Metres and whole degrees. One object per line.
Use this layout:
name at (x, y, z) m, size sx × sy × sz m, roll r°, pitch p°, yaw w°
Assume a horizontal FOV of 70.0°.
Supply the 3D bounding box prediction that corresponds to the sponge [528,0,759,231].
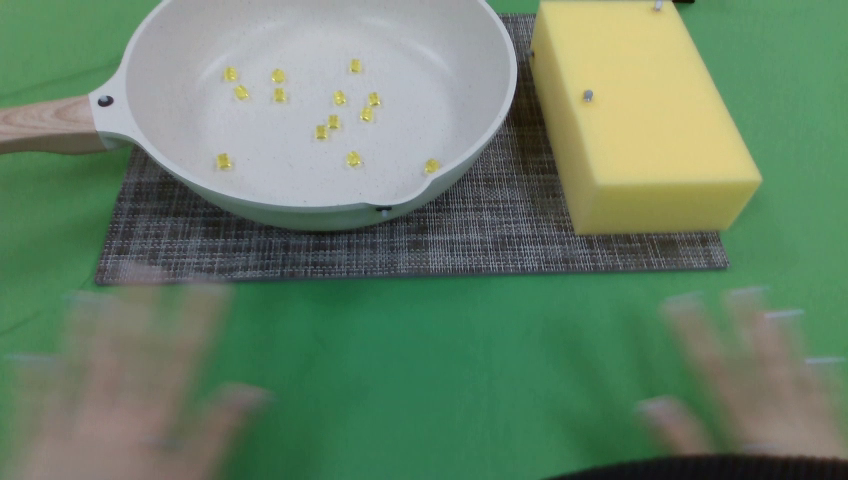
sponge at (0.163, -0.107, 0.488) m, size 0.118 × 0.061 × 0.204 m, roll -3°, pitch 55°, yaw -5°

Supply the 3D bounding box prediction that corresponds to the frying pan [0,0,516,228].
frying pan at (-0.171, -0.101, 0.441) m, size 0.489 × 0.103 × 0.303 m, roll -14°, pitch 56°, yaw -22°
